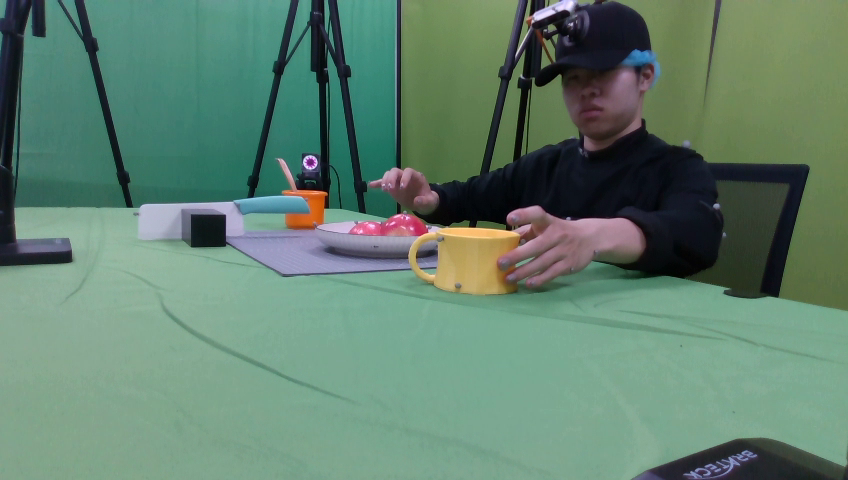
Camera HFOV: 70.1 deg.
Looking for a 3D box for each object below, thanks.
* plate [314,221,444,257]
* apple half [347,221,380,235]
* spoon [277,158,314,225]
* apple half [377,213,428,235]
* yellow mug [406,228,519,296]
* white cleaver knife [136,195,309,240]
[{"bbox_3d":[-0.067,-0.002,0.948,0.209,0.038,0.209,3,7,0],"label":"plate"},{"bbox_3d":[-0.088,-0.014,0.985,0.081,0.033,0.081,5,6,0],"label":"apple half"},{"bbox_3d":[-0.272,-0.103,1.260,0.042,0.193,0.021,-5,-34,-33],"label":"spoon"},{"bbox_3d":[-0.034,-0.014,0.924,0.080,0.053,0.075,5,10,16],"label":"apple half"},{"bbox_3d":[0.044,0.022,0.707,0.131,0.064,0.100,2,7,4],"label":"yellow mug"},{"bbox_3d":[-0.337,-0.039,1.037,0.288,0.066,0.021,-6,14,-29],"label":"white cleaver knife"}]
